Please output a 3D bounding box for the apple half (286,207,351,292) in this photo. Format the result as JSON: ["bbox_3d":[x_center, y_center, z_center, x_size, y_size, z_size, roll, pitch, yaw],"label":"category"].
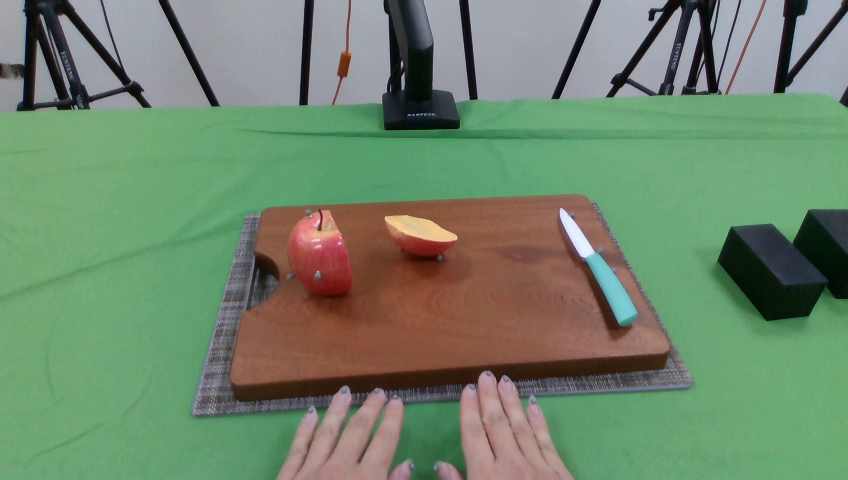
[{"bbox_3d":[-0.107,0.014,0.597,0.053,0.075,0.080,-18,46,-15],"label":"apple half"}]

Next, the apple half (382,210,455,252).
[{"bbox_3d":[-0.012,-0.005,0.648,0.081,0.033,0.081,16,18,-5],"label":"apple half"}]

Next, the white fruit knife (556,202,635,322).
[{"bbox_3d":[0.178,0.014,0.648,0.027,0.016,0.205,8,35,-16],"label":"white fruit knife"}]
